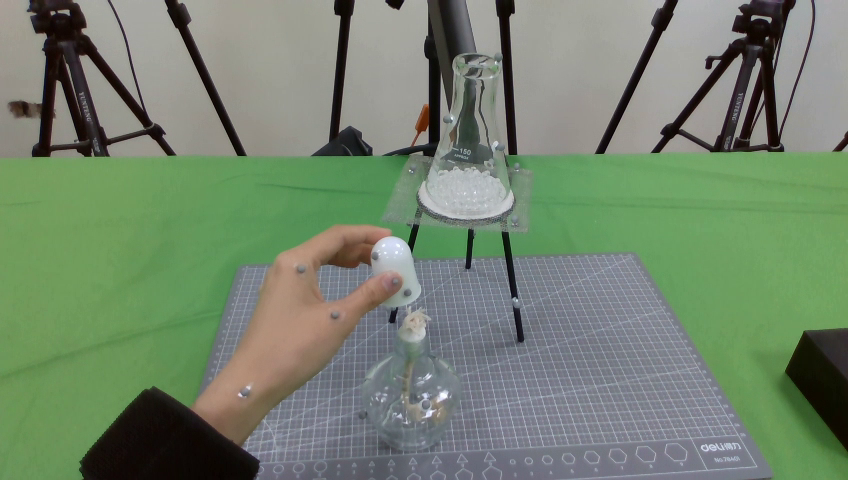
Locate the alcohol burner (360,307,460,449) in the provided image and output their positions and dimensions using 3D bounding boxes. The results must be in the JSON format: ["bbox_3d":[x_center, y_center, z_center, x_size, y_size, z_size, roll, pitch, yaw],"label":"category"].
[{"bbox_3d":[-0.011,0.101,0.460,0.078,0.120,0.077,1,32,0],"label":"alcohol burner"}]

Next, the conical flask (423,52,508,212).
[{"bbox_3d":[0.038,-0.090,0.501,0.075,0.123,0.074,2,35,-1],"label":"conical flask"}]

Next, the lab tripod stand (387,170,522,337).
[{"bbox_3d":[0.038,0.012,0.575,0.148,0.132,0.147,3,34,-1],"label":"lab tripod stand"}]

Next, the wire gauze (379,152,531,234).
[{"bbox_3d":[0.033,-0.043,0.538,0.121,0.011,0.124,7,37,8],"label":"wire gauze"}]

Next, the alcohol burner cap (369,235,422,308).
[{"bbox_3d":[-0.021,0.019,0.411,0.034,0.048,0.033,-7,33,5],"label":"alcohol burner cap"}]
